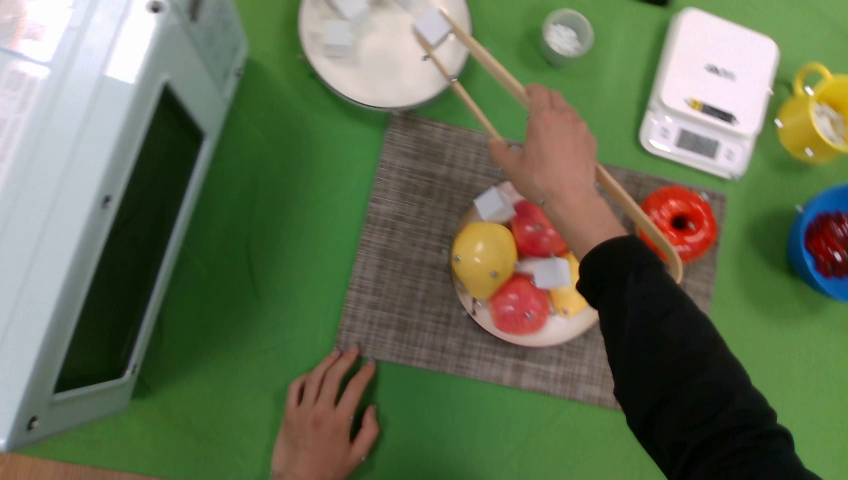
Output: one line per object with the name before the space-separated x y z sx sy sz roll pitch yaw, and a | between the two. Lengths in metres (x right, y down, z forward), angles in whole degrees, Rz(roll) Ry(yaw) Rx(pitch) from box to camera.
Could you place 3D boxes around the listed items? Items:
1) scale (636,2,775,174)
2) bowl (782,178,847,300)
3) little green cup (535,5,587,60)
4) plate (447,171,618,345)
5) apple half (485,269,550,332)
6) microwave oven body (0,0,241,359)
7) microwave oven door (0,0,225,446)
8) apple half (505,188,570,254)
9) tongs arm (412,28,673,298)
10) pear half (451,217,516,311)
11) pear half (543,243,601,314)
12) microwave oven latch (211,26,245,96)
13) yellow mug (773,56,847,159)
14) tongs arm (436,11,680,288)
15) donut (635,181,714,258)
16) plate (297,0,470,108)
scale | 0.369 -0.198 0.792 0.149 0.031 0.200 18 82 -5
bowl | 0.514 0.003 0.766 0.152 0.077 0.151 1 84 -7
little green cup | 0.171 -0.261 0.770 0.062 0.038 0.061 1 83 -7
plate | 0.129 0.022 0.729 0.209 0.038 0.208 1 84 -8
apple half | 0.113 0.071 0.713 0.081 0.033 0.081 2 77 -8
microwave oven body | -0.406 -0.091 0.559 0.327 0.260 0.440 16 82 -6
microwave oven door | -0.276 -0.011 0.562 0.039 0.244 0.355 15 82 -5
apple half | 0.137 -0.024 0.718 0.075 0.053 0.080 1 87 -4
tongs arm | 0.114 -0.091 0.634 0.051 0.026 0.382 -33 76 -6
pear half | 0.070 0.029 0.699 0.076 0.056 0.109 8 86 -14
pear half | 0.179 0.045 0.727 0.070 0.031 0.087 15 80 8
microwave oven latch | -0.229 -0.208 0.693 0.030 0.029 0.079 18 82 -5
yellow mug | 0.518 -0.178 0.792 0.100 0.064 0.130 -19 85 -8
tongs arm | 0.132 -0.105 0.636 0.028 0.028 0.385 -37 77 -11
donut | 0.309 -0.025 0.755 0.099 0.048 0.099 1 83 -4
plate | -0.048 -0.259 0.741 0.208 0.039 0.207 1 84 -7
